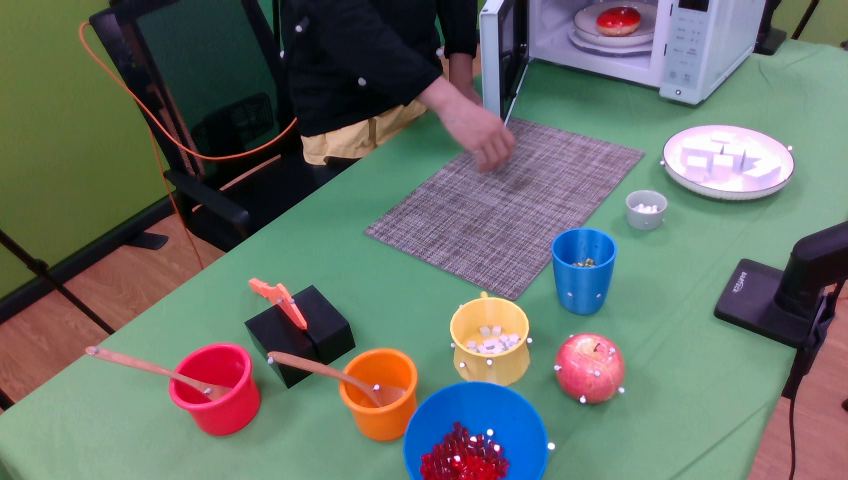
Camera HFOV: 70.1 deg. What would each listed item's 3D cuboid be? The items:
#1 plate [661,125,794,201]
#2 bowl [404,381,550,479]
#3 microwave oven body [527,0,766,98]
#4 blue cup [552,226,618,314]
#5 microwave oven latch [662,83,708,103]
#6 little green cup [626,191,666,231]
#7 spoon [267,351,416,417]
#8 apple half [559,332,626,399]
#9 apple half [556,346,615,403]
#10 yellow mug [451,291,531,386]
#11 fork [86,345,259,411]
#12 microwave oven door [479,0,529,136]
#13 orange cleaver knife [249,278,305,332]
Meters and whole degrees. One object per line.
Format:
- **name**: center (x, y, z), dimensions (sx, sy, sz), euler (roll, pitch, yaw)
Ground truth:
- **plate**: center (0.513, -0.128, 1.035), dimensions (0.207, 0.039, 0.206), euler (-4, 40, 4)
- **bowl**: center (0.058, 0.235, 0.645), dimensions (0.151, 0.077, 0.150), euler (-4, 39, 4)
- **microwave oven body**: center (0.472, -0.513, 1.317), dimensions (0.438, 0.261, 0.327), euler (25, 51, 34)
- **blue cup**: center (0.218, 0.047, 0.825), dimensions (0.092, 0.101, 0.092), euler (-6, 40, 5)
- **microwave oven latch**: center (0.518, -0.296, 1.204), dimensions (0.078, 0.029, 0.030), euler (27, 52, 35)
- **little green cup**: center (0.352, -0.046, 0.963), dimensions (0.061, 0.039, 0.061), euler (-4, 40, 4)
- **spoon**: center (-0.091, 0.163, 0.699), dimensions (0.021, 0.195, 0.041), euler (-44, 30, 27)
- **apple half**: center (0.209, 0.147, 0.730), dimensions (0.080, 0.075, 0.053), euler (26, 48, 38)
- **apple half**: center (0.181, 0.167, 0.709), dimensions (0.080, 0.081, 0.033), euler (29, 50, 35)
- **yellow mug**: center (0.086, 0.120, 0.786), dimensions (0.100, 0.064, 0.130), euler (-7, 39, 2)
- **fork**: center (-0.298, 0.167, 0.728), dimensions (0.209, 0.018, 0.028), euler (28, 47, -23)
- **microwave oven door**: center (0.170, -0.408, 1.231), dimensions (0.039, 0.245, 0.355), euler (6, 42, 16)
- **orange cleaver knife**: center (-0.210, 0.089, 0.855), dimensions (0.012, 0.077, 0.210), euler (-28, 15, -25)
